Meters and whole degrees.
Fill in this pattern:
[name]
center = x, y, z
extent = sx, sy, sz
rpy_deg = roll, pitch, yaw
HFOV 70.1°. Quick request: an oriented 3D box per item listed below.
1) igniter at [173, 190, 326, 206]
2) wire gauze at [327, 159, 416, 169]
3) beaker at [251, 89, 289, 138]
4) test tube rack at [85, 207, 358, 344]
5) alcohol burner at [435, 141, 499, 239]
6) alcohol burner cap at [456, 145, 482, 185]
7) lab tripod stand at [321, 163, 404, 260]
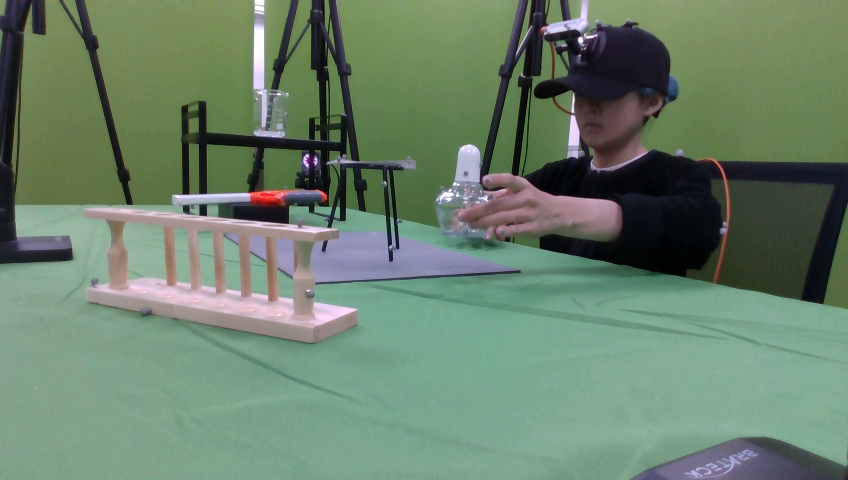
[igniter]
center = -0.317, -0.079, 1.128
extent = 0.278, 0.025, 0.057
rpy_deg = -4, 13, -32
[wire gauze]
center = -0.072, -0.111, 0.872
extent = 0.121, 0.011, 0.125
rpy_deg = 3, 5, -2
[beaker]
center = -0.334, -0.273, 1.316
extent = 0.084, 0.100, 0.074
rpy_deg = 5, 8, 15
[test tube rack]
center = -0.177, 0.022, 0.518
extent = 0.241, 0.085, 0.067
rpy_deg = 6, 7, 23
[alcohol burner]
center = 0.054, -0.061, 0.738
extent = 0.078, 0.119, 0.078
rpy_deg = 4, 5, 0
[alcohol burner cap]
center = 0.056, -0.092, 0.735
extent = 0.034, 0.048, 0.034
rpy_deg = 3, 5, 0
[lab tripod stand]
center = -0.076, -0.045, 0.884
extent = 0.148, 0.131, 0.148
rpy_deg = 2, 5, 0
